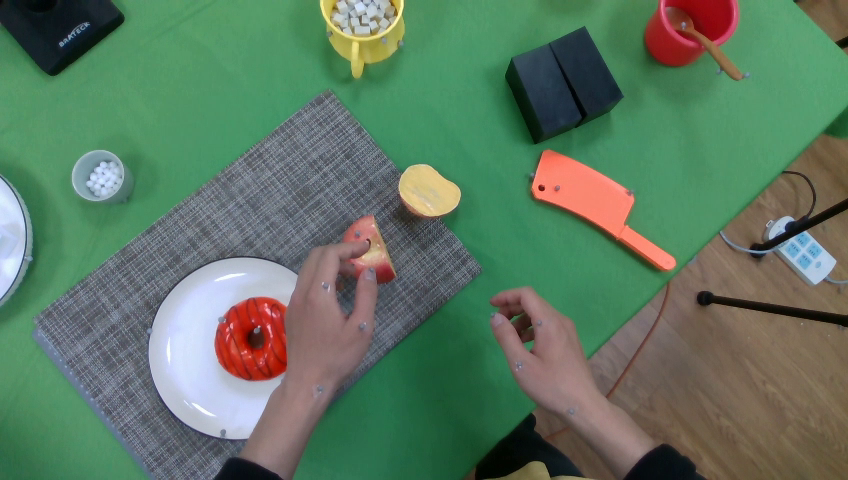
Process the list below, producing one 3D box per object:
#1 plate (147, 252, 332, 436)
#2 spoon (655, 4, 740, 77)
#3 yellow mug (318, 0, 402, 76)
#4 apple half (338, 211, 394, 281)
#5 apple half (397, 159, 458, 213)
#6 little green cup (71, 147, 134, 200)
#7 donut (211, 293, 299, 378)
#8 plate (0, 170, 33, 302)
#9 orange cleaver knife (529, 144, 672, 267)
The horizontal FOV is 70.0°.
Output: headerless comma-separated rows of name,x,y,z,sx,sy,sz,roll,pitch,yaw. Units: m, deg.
plate,-0.210,0.118,0.704,0.209,0.038,0.208,0,83,-2
spoon,0.324,-0.240,0.720,0.041,0.022,0.191,-7,38,-1
yellow mug,-0.079,-0.267,0.746,0.100,0.064,0.130,7,84,-2
apple half,-0.071,0.012,0.705,0.053,0.075,0.080,-22,88,-1
apple half,-0.002,-0.058,0.734,0.081,0.033,0.080,12,51,-15
little green cup,-0.382,-0.076,0.725,0.061,0.039,0.061,0,83,-2
donut,-0.193,0.110,0.695,0.099,0.048,0.099,0,85,-3
plate,-0.560,0.000,0.709,0.208,0.039,0.207,0,83,-2
orange cleaver knife,0.225,-0.044,0.755,0.211,0.012,0.077,33,78,3
